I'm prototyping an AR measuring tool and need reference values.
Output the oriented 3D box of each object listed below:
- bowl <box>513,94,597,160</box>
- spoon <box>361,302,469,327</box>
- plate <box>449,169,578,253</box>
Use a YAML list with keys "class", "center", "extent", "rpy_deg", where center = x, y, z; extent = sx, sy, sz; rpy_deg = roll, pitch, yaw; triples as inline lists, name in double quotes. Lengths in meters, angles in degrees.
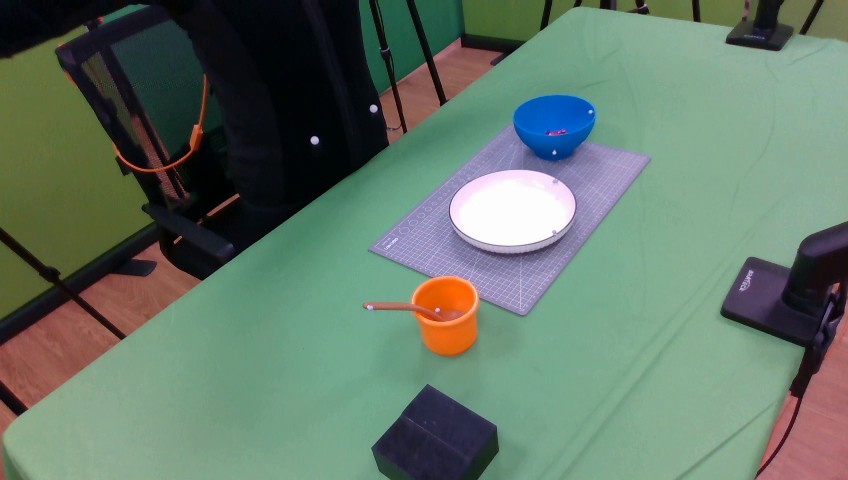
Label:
- class: "bowl"
  center: [0.244, -0.202, 1.130]
  extent: [0.151, 0.077, 0.150]
  rpy_deg: [-6, 40, 5]
- class: "spoon"
  center: [-0.008, 0.092, 0.779]
  extent: [0.041, 0.195, 0.021]
  rpy_deg: [33, 99, 42]
- class: "plate"
  center: [0.146, -0.044, 0.993]
  extent: [0.209, 0.038, 0.208]
  rpy_deg: [-5, 40, 5]
